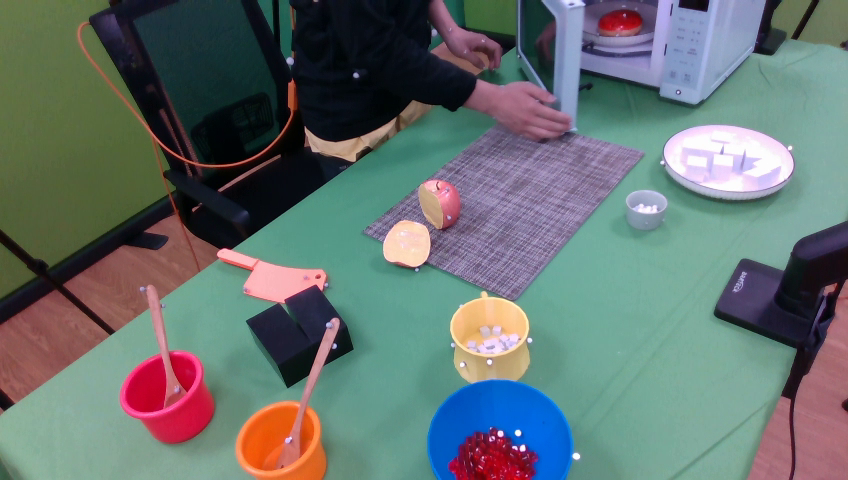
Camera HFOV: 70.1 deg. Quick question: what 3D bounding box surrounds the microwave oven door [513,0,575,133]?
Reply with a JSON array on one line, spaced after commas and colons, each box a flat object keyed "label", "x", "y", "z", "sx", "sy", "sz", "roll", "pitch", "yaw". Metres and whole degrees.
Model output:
[{"label": "microwave oven door", "x": 0.238, "y": -0.410, "z": 1.223, "sx": 0.039, "sy": 0.245, "sz": 0.353, "roll": -9, "pitch": 40, "yaw": -2}]

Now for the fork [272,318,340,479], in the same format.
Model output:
[{"label": "fork", "x": -0.132, "y": 0.186, "z": 0.676, "sx": 0.028, "sy": 0.019, "sz": 0.207, "roll": 17, "pitch": 90, "yaw": 28}]

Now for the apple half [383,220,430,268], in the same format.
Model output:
[{"label": "apple half", "x": -0.022, "y": 0.009, "z": 0.948, "sx": 0.081, "sy": 0.033, "sz": 0.081, "roll": -4, "pitch": 73, "yaw": 13}]

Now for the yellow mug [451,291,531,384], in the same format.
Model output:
[{"label": "yellow mug", "x": 0.086, "y": 0.120, "z": 0.786, "sx": 0.100, "sy": 0.064, "sz": 0.130, "roll": -7, "pitch": 39, "yaw": 1}]

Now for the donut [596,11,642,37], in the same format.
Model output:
[{"label": "donut", "x": 0.434, "y": -0.478, "z": 1.347, "sx": 0.099, "sy": 0.048, "sz": 0.098, "roll": -7, "pitch": 37, "yaw": 6}]

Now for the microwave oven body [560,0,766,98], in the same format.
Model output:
[{"label": "microwave oven body", "x": 0.472, "y": -0.513, "z": 1.317, "sx": 0.438, "sy": 0.261, "sz": 0.327, "roll": 26, "pitch": 51, "yaw": 34}]

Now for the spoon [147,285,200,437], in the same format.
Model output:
[{"label": "spoon", "x": -0.318, "y": 0.148, "z": 0.754, "sx": 0.042, "sy": 0.021, "sz": 0.193, "roll": -15, "pitch": 85, "yaw": -9}]

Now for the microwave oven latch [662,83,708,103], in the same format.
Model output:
[{"label": "microwave oven latch", "x": 0.518, "y": -0.296, "z": 1.204, "sx": 0.078, "sy": 0.029, "sz": 0.030, "roll": 28, "pitch": 52, "yaw": 36}]

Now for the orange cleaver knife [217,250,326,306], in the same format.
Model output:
[{"label": "orange cleaver knife", "x": -0.248, "y": 0.059, "z": 0.945, "sx": 0.210, "sy": 0.012, "sz": 0.077, "roll": 12, "pitch": 49, "yaw": 20}]

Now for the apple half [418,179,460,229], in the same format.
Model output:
[{"label": "apple half", "x": 0.032, "y": -0.062, "z": 0.998, "sx": 0.053, "sy": 0.075, "sz": 0.080, "roll": -23, "pitch": 39, "yaw": -23}]

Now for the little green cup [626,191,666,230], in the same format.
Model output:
[{"label": "little green cup", "x": 0.352, "y": -0.046, "z": 0.963, "sx": 0.061, "sy": 0.039, "sz": 0.061, "roll": -4, "pitch": 40, "yaw": 4}]

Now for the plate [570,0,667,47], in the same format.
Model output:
[{"label": "plate", "x": 0.437, "y": -0.487, "z": 1.365, "sx": 0.209, "sy": 0.038, "sz": 0.208, "roll": -6, "pitch": 41, "yaw": 6}]

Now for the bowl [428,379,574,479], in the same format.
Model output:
[{"label": "bowl", "x": 0.082, "y": 0.233, "z": 0.644, "sx": 0.151, "sy": 0.077, "sz": 0.150, "roll": -4, "pitch": 39, "yaw": 4}]

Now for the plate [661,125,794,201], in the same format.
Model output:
[{"label": "plate", "x": 0.514, "y": -0.128, "z": 1.035, "sx": 0.207, "sy": 0.039, "sz": 0.206, "roll": -4, "pitch": 40, "yaw": 4}]
